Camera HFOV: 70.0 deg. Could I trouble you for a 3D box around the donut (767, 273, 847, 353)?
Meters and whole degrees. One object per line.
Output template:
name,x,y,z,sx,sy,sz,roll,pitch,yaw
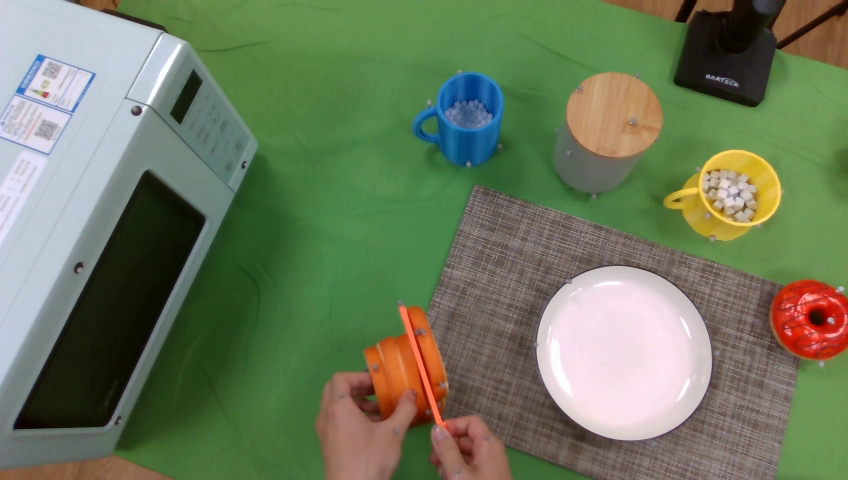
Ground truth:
donut,0.466,0.088,0.731,0.099,0.048,0.098,0,76,2

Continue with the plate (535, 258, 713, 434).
plate,0.236,0.126,0.733,0.207,0.039,0.206,-1,76,2

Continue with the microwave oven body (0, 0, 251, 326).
microwave oven body,-0.453,-0.029,0.682,0.325,0.261,0.440,19,77,7

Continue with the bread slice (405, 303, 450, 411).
bread slice,0.004,0.130,0.690,0.019,0.132,0.104,-19,63,-7

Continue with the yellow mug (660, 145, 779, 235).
yellow mug,0.367,-0.061,0.767,0.131,0.064,0.099,-4,75,2

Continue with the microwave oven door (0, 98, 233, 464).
microwave oven door,-0.332,0.056,0.650,0.039,0.245,0.354,19,76,7

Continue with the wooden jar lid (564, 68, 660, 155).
wooden jar lid,0.215,-0.146,0.699,0.108,0.021,0.107,0,73,2

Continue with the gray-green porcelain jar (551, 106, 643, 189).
gray-green porcelain jar,0.218,-0.129,0.759,0.106,0.127,0.105,0,75,2

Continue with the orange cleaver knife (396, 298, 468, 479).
orange cleaver knife,0.006,0.158,0.637,0.012,0.077,0.210,-18,79,-8

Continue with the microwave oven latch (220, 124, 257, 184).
microwave oven latch,-0.249,-0.116,0.798,0.030,0.029,0.079,23,78,8

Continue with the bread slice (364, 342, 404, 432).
bread slice,-0.046,0.163,0.687,0.018,0.135,0.106,-18,74,-6

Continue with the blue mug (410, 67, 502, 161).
blue mug,0.040,-0.158,0.783,0.116,0.106,0.082,-7,74,1
